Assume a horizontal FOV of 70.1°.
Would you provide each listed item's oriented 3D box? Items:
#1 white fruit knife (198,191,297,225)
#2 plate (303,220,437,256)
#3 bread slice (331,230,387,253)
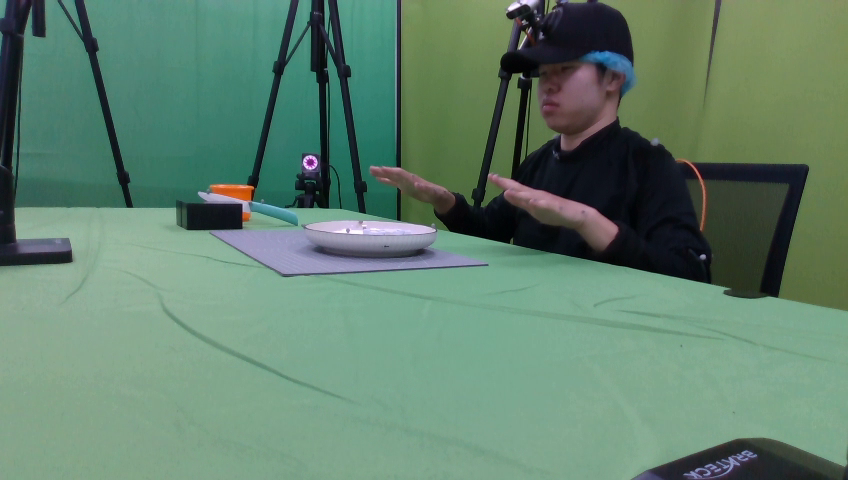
[{"bbox_3d":[-0.351,-0.068,1.224,0.208,0.027,0.016,15,-1,-33],"label":"white fruit knife"},{"bbox_3d":[-0.084,-0.003,0.951,0.209,0.038,0.209,3,7,0],"label":"plate"},{"bbox_3d":[-0.088,0.000,0.947,0.105,0.019,0.131,-4,11,-44],"label":"bread slice"}]
